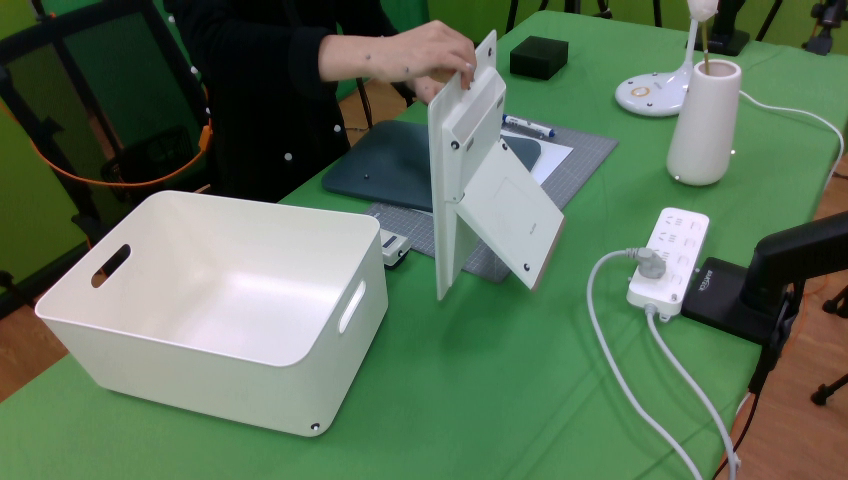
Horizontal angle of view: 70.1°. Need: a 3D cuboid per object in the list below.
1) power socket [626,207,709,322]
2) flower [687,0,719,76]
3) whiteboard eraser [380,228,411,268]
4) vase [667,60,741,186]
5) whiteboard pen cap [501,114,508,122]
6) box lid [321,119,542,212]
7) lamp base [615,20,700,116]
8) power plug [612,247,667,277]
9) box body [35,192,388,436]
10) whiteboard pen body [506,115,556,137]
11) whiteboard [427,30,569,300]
[{"bbox_3d":[0.360,0.026,0.886,0.072,0.033,0.227,17,46,27],"label":"power socket"},{"bbox_3d":[0.436,-0.242,0.934,0.038,0.364,0.043,-24,49,8],"label":"flower"},{"bbox_3d":[-0.081,0.008,0.964,0.112,0.042,0.056,19,49,27],"label":"whiteboard eraser"},{"bbox_3d":[0.463,-0.189,0.994,0.098,0.201,0.097,-4,40,3],"label":"vase"},{"bbox_3d":[0.161,-0.253,1.248,0.033,0.018,0.018,28,51,36],"label":"whiteboard pen cap"},{"bbox_3d":[0.017,-0.141,1.145,0.369,0.015,0.263,12,44,22],"label":"box lid"},{"bbox_3d":[0.484,-0.364,1.211,0.180,0.181,0.159,-15,41,-14],"label":"lamp base"},{"bbox_3d":[0.306,0.031,0.852,0.072,0.053,0.035,21,48,37],"label":"power plug"},{"bbox_3d":[-0.251,0.088,0.800,0.362,0.161,0.254,7,42,16],"label":"box body"},{"bbox_3d":[0.203,-0.232,1.213,0.139,0.017,0.017,28,51,36],"label":"whiteboard pen body"},{"bbox_3d":[0.113,-0.076,0.785,0.143,0.306,0.217,16,44,20],"label":"whiteboard"}]
